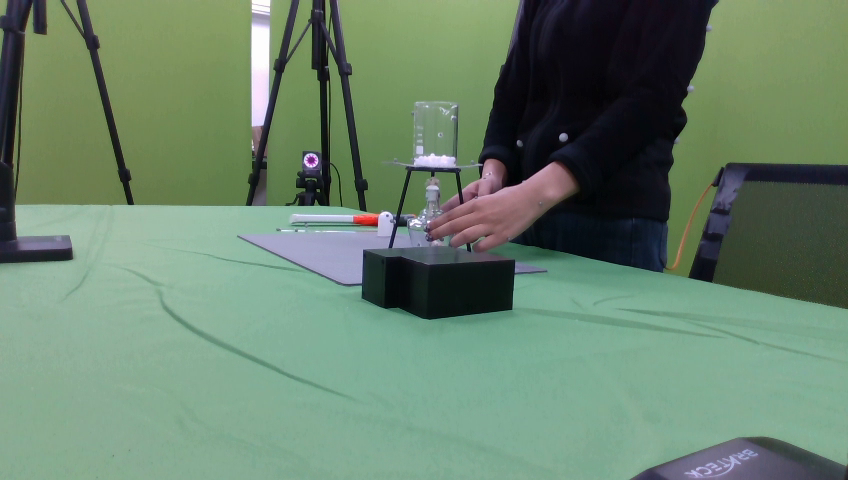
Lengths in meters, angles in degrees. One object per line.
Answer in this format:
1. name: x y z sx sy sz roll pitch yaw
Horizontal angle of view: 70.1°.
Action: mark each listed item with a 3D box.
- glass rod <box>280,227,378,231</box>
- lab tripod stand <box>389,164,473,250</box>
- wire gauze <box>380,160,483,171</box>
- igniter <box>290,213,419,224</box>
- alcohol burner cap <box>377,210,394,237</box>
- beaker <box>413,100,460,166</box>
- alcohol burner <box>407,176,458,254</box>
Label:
1. glass rod: -0.175 -0.021 1.161 0.200 0.008 0.008 0 7 -15
2. lab tripod stand: 0.011 -0.054 0.960 0.148 0.131 0.148 2 9 0
3. wire gauze: 0.011 -0.119 0.951 0.122 0.011 0.124 -5 12 -32
4. igniter: -0.143 -0.046 1.288 0.278 0.025 0.057 -1 -3 -24
5. alcohol burner cap: -0.069 -0.031 1.112 0.034 0.048 0.034 2 9 0
6. beaker: 0.020 -0.167 0.953 0.073 0.100 0.084 6 9 26
7. alcohol burner: 0.013 -0.039 0.925 0.078 0.119 0.078 0 9 0
